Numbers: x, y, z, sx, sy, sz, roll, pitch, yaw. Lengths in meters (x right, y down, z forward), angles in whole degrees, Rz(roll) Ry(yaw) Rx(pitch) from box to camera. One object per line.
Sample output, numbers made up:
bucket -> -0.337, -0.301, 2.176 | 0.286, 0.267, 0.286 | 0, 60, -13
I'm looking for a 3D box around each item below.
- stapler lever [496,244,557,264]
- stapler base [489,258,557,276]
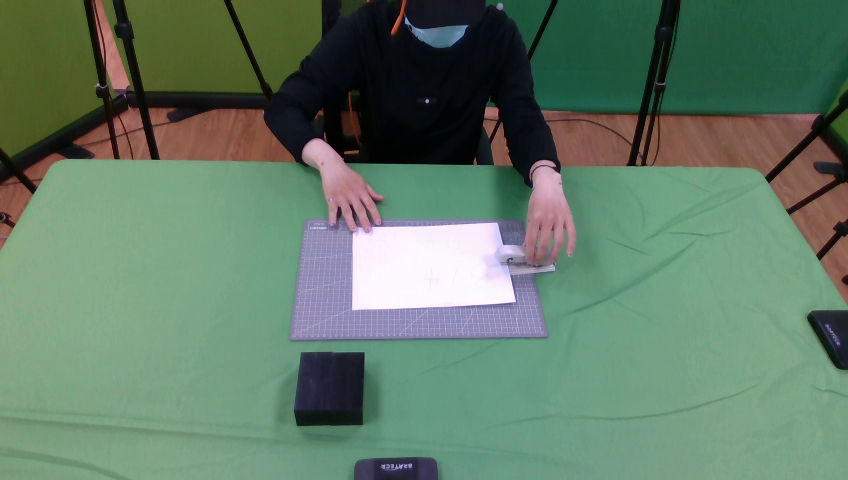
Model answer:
stapler lever -> 0.194, 0.024, 1.145 | 0.118, 0.040, 0.026 | -5, 49, -10
stapler base -> 0.191, 0.041, 1.162 | 0.131, 0.024, 0.041 | -4, 48, -11
